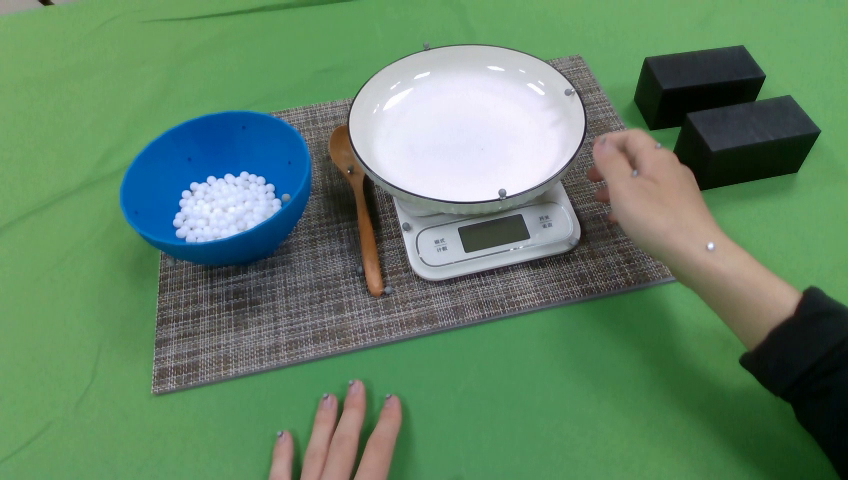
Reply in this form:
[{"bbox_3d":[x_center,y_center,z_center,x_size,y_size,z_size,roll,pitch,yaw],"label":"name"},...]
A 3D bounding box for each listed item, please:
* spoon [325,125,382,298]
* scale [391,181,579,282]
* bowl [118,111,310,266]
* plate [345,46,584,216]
[{"bbox_3d":[-0.060,-0.032,0.542,0.042,0.022,0.191,-2,51,-16],"label":"spoon"},{"bbox_3d":[0.041,-0.059,0.550,0.149,0.032,0.198,-12,53,-5],"label":"scale"},{"bbox_3d":[-0.165,-0.031,0.512,0.151,0.077,0.150,-2,52,2],"label":"bowl"},{"bbox_3d":[0.035,-0.097,0.539,0.209,0.038,0.207,-1,52,2],"label":"plate"}]
